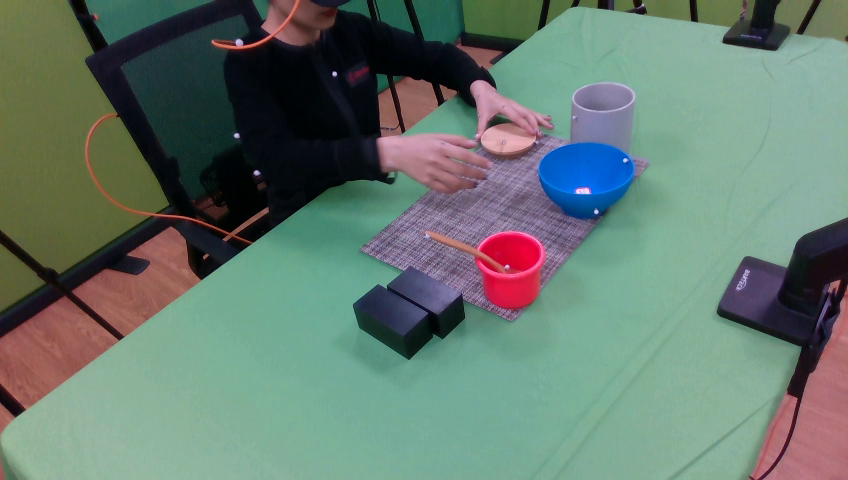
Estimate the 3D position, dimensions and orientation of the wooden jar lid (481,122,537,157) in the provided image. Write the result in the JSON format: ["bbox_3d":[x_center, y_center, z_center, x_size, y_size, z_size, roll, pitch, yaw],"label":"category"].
[{"bbox_3d":[0.166,-0.195,1.177,0.108,0.021,0.108,-4,40,4],"label":"wooden jar lid"}]

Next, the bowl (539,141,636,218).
[{"bbox_3d":[0.264,-0.089,0.989,0.151,0.077,0.150,-5,40,5],"label":"bowl"}]

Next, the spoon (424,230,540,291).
[{"bbox_3d":[0.083,0.026,0.836,0.195,0.021,0.041,29,31,-24],"label":"spoon"}]

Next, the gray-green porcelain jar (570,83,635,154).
[{"bbox_3d":[0.313,-0.197,1.069,0.106,0.127,0.105,-6,40,5],"label":"gray-green porcelain jar"}]
